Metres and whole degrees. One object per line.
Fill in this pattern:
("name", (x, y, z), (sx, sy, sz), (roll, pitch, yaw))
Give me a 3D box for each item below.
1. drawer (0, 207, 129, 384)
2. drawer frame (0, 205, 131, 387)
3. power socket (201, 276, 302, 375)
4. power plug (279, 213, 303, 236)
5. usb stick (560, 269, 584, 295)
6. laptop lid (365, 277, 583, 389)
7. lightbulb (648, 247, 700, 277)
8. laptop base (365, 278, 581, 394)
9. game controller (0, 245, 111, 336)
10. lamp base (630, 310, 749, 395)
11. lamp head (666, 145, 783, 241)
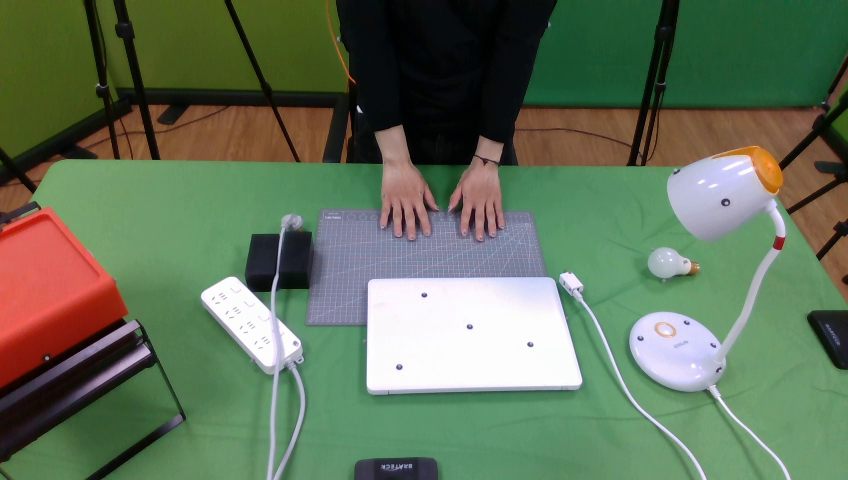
("drawer", (-0.539, 0.074, 0.798), (0.193, 0.073, 0.211), (37, 55, 27))
("drawer frame", (-0.539, 0.075, 0.795), (0.200, 0.083, 0.213), (36, 55, 26))
("power socket", (-0.296, 0.142, 1.034), (0.072, 0.033, 0.225), (-34, 58, -30))
("power plug", (-0.263, -0.021, 1.184), (0.035, 0.053, 0.072), (-2, 48, 32))
("usb stick", (0.275, 0.077, 1.142), (0.027, 0.021, 0.059), (-12, 38, -12))
("laptop lid", (0.077, 0.152, 1.046), (0.357, 0.013, 0.240), (1, 45, -3))
("lightbulb", (0.485, 0.046, 1.170), (0.108, 0.060, 0.059), (10, 45, -15))
("laptop base", (0.077, 0.162, 1.053), (0.355, 0.023, 0.234), (0, 44, -4))
("game controller", (-0.510, 0.062, 0.830), (0.097, 0.052, 0.154), (-30, 58, -30))
("lamp base", (0.447, 0.142, 0.984), (0.161, 0.181, 0.178), (-24, 55, -24))
("lamp head", (0.408, -0.067, 0.806), (0.113, 0.123, 0.112), (15, 63, -32))
